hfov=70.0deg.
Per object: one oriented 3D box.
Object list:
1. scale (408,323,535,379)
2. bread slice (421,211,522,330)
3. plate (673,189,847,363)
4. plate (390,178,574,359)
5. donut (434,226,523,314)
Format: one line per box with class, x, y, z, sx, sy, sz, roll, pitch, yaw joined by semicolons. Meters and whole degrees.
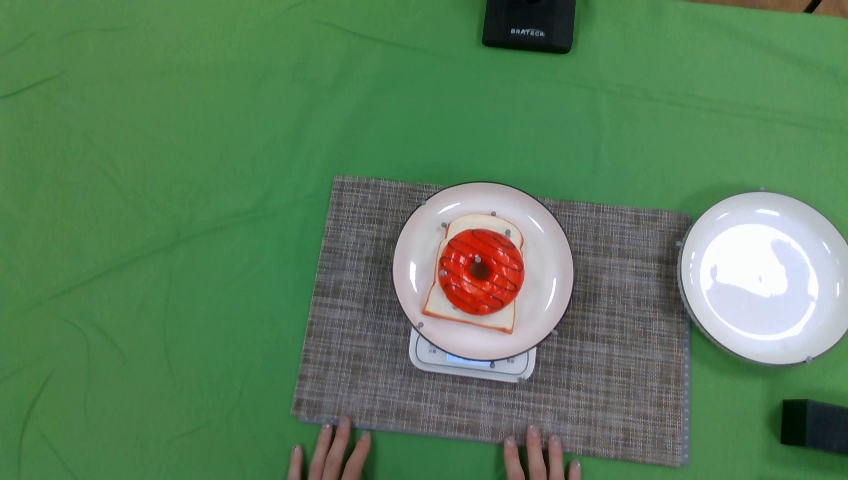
scale;0.064;0.057;0.723;0.148;0.032;0.200;7;77;3
bread slice;0.060;0.029;0.698;0.105;0.019;0.131;11;77;2
plate;0.397;0.043;0.719;0.207;0.039;0.206;0;76;1
plate;0.065;0.031;0.695;0.209;0.038;0.208;0;76;1
donut;0.060;0.033;0.667;0.099;0.048;0.098;0;79;-1
